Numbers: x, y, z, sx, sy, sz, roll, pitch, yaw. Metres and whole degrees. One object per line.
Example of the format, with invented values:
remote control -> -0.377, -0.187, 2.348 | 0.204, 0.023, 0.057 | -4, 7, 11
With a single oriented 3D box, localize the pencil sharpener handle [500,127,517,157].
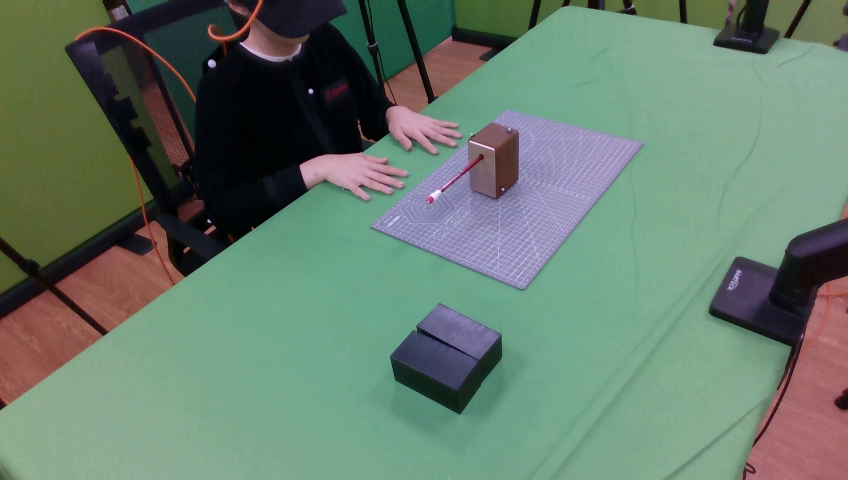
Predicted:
pencil sharpener handle -> 0.153, -0.178, 1.072 | 0.036, 0.068, 0.031 | 38, 55, 17

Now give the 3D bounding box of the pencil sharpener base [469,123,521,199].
pencil sharpener base -> 0.126, -0.138, 1.050 | 0.061, 0.107, 0.077 | 24, 50, 33

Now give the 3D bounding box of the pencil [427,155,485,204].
pencil -> 0.070, -0.112, 0.989 | 0.012, 0.012, 0.194 | 26, 51, 33
